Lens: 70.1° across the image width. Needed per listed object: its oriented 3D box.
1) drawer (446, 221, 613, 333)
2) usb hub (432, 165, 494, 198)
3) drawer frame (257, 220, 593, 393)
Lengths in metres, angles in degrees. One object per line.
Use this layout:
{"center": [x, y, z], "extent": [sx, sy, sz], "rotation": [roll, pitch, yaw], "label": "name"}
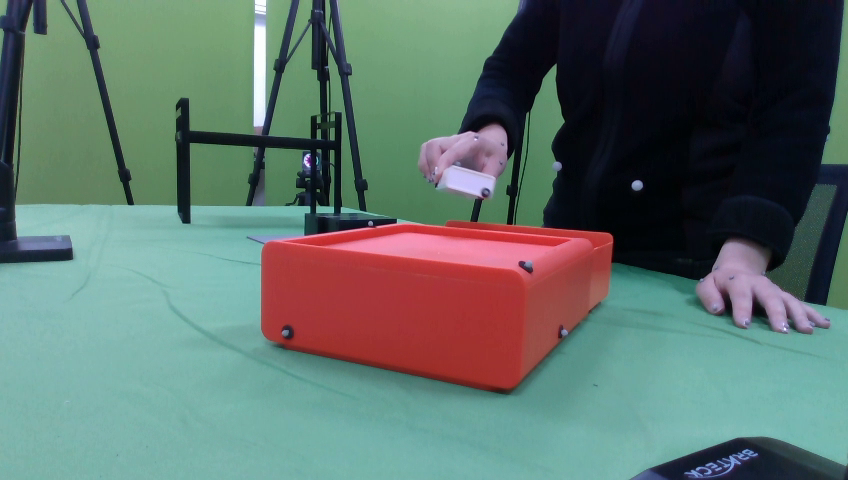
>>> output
{"center": [0.062, 0.031, 0.583], "extent": [0.194, 0.073, 0.212], "rotation": [6, 10, 27], "label": "drawer"}
{"center": [0.040, -0.064, 0.678], "extent": [0.049, 0.025, 0.125], "rotation": [14, 2, -6], "label": "usb hub"}
{"center": [0.014, 0.037, 0.491], "extent": [0.201, 0.082, 0.214], "rotation": [6, 9, 24], "label": "drawer frame"}
